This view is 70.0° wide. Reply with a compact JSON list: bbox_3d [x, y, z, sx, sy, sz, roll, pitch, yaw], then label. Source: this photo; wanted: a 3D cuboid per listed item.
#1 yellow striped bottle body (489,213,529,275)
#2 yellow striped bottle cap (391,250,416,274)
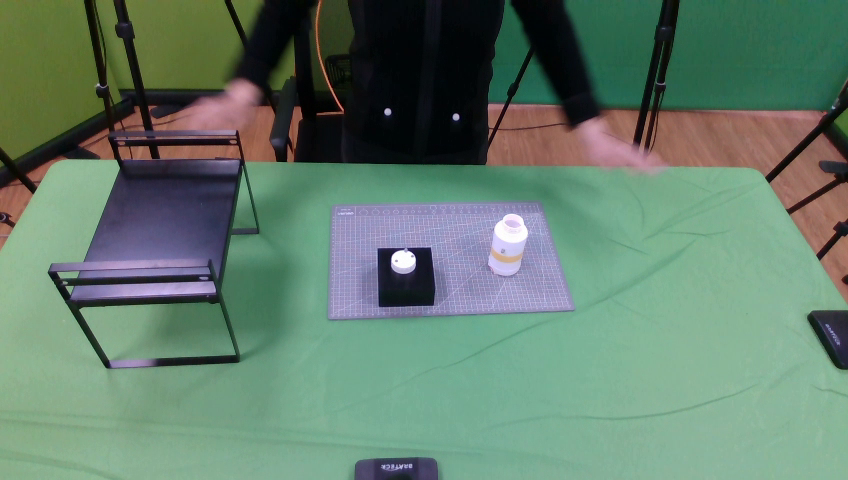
[{"bbox_3d":[0.159,0.005,1.130,0.063,0.121,0.062,2,46,-2],"label":"yellow striped bottle body"},{"bbox_3d":[-0.037,0.039,1.087,0.044,0.019,0.044,2,44,-1],"label":"yellow striped bottle cap"}]
